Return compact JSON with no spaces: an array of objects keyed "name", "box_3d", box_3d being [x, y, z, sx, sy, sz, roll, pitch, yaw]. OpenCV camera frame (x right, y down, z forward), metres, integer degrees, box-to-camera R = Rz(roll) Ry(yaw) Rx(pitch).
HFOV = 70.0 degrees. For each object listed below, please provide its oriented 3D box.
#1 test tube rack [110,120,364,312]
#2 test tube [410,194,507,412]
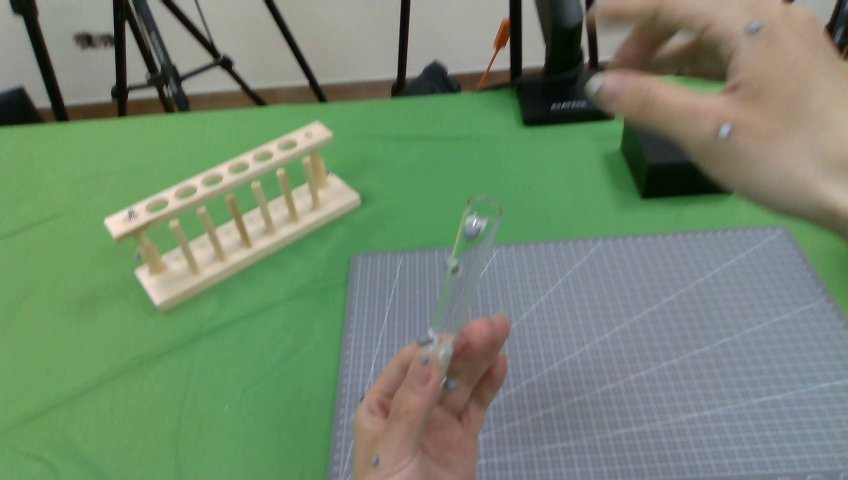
[{"name":"test tube rack","box_3d":[-0.187,-0.031,0.644,0.242,0.086,0.066,-32,49,-23]},{"name":"test tube","box_3d":[0.012,0.039,0.293,0.017,0.151,0.017,8,42,-7]}]
